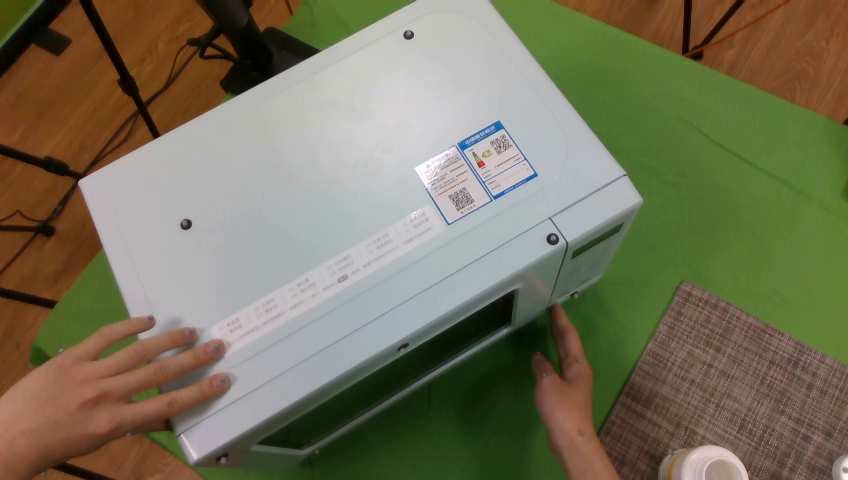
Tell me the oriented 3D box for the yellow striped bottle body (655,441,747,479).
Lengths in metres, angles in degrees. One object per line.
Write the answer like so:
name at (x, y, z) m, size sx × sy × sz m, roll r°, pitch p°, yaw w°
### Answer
yellow striped bottle body at (0.279, 0.236, 0.610) m, size 0.063 × 0.121 × 0.062 m, roll -2°, pitch 69°, yaw 6°

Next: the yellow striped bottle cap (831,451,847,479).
yellow striped bottle cap at (0.460, 0.247, 0.644) m, size 0.044 × 0.019 × 0.044 m, roll -3°, pitch 69°, yaw 7°

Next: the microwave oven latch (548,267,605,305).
microwave oven latch at (0.174, 0.046, 0.720) m, size 0.079 × 0.030 × 0.030 m, roll -28°, pitch 70°, yaw -4°

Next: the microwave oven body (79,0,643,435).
microwave oven body at (-0.062, -0.017, 0.665) m, size 0.442 × 0.262 × 0.323 m, roll -30°, pitch 70°, yaw -4°

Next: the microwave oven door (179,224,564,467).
microwave oven door at (-0.028, 0.118, 0.606) m, size 0.356 × 0.245 × 0.039 m, roll -30°, pitch 69°, yaw -5°
